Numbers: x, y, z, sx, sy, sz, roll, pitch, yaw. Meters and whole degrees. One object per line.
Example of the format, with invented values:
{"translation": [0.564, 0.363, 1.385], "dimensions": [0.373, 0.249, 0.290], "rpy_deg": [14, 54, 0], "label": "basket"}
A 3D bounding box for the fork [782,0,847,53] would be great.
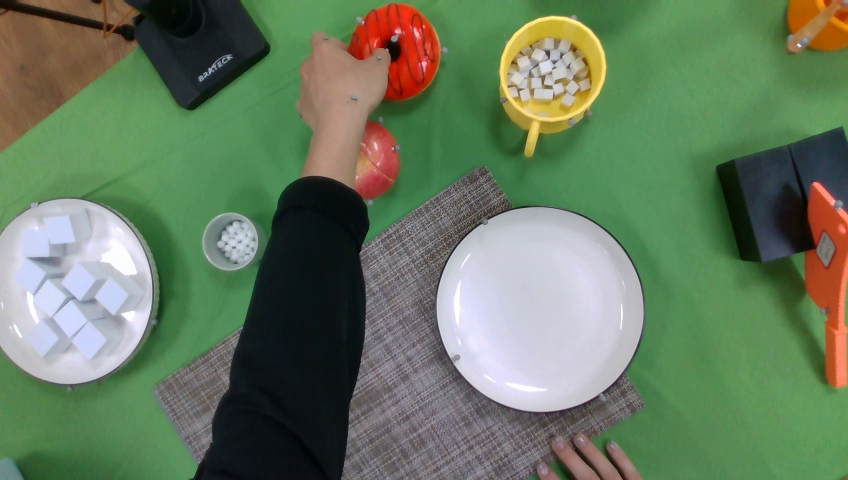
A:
{"translation": [0.352, -0.202, 0.535], "dimensions": [0.028, 0.018, 0.207], "rpy_deg": [50, 52, 4], "label": "fork"}

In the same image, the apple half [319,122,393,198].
{"translation": [-0.076, -0.075, 0.626], "dimensions": [0.053, 0.074, 0.081], "rpy_deg": [-42, 89, 10], "label": "apple half"}

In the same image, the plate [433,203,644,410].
{"translation": [0.114, 0.066, 0.619], "dimensions": [0.209, 0.038, 0.209], "rpy_deg": [0, 91, 7], "label": "plate"}

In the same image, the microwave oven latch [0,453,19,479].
{"translation": [-0.471, 0.278, 0.676], "dimensions": [0.030, 0.029, 0.079], "rpy_deg": [-27, 88, 6], "label": "microwave oven latch"}

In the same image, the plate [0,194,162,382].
{"translation": [-0.389, 0.053, 0.682], "dimensions": [0.207, 0.039, 0.207], "rpy_deg": [0, 90, 7], "label": "plate"}

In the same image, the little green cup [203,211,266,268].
{"translation": [-0.203, 0.000, 0.659], "dimensions": [0.061, 0.038, 0.061], "rpy_deg": [0, 90, 7], "label": "little green cup"}

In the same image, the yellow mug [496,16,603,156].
{"translation": [0.118, -0.148, 0.605], "dimensions": [0.100, 0.064, 0.131], "rpy_deg": [15, 93, 6], "label": "yellow mug"}

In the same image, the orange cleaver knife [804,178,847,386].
{"translation": [0.377, 0.044, 0.569], "dimensions": [0.012, 0.076, 0.213], "rpy_deg": [-13, 119, 10], "label": "orange cleaver knife"}

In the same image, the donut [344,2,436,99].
{"translation": [-0.035, -0.196, 0.635], "dimensions": [0.099, 0.048, 0.099], "rpy_deg": [1, 94, 8], "label": "donut"}

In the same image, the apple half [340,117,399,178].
{"translation": [-0.047, -0.101, 0.622], "dimensions": [0.033, 0.081, 0.081], "rpy_deg": [-43, 85, 10], "label": "apple half"}
